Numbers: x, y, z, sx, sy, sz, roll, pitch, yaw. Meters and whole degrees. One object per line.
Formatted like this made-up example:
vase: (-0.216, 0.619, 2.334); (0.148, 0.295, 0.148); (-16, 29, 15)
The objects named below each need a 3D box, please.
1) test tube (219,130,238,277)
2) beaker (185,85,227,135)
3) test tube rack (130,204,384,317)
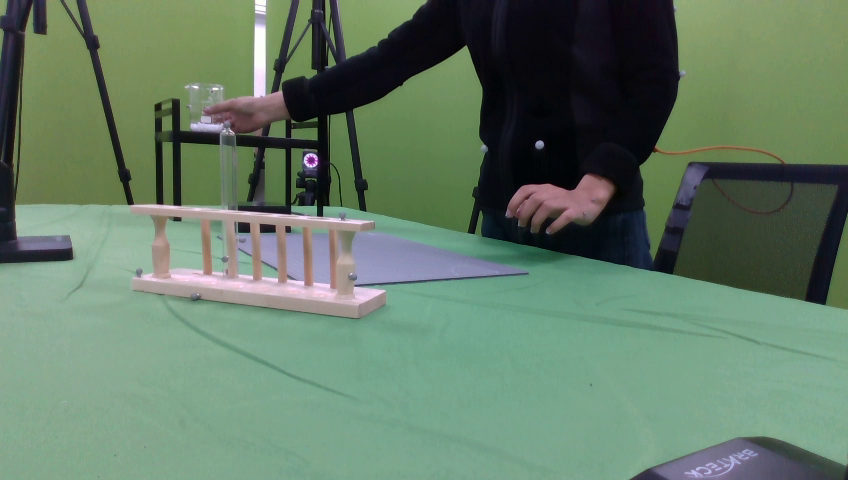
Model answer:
test tube: (-0.198, -0.036, 0.613); (0.017, 0.150, 0.017); (2, 9, 0)
beaker: (-0.460, -0.275, 1.282); (0.084, 0.100, 0.073); (-3, 8, -28)
test tube rack: (-0.163, 0.013, 0.589); (0.242, 0.085, 0.067); (5, 8, 17)
